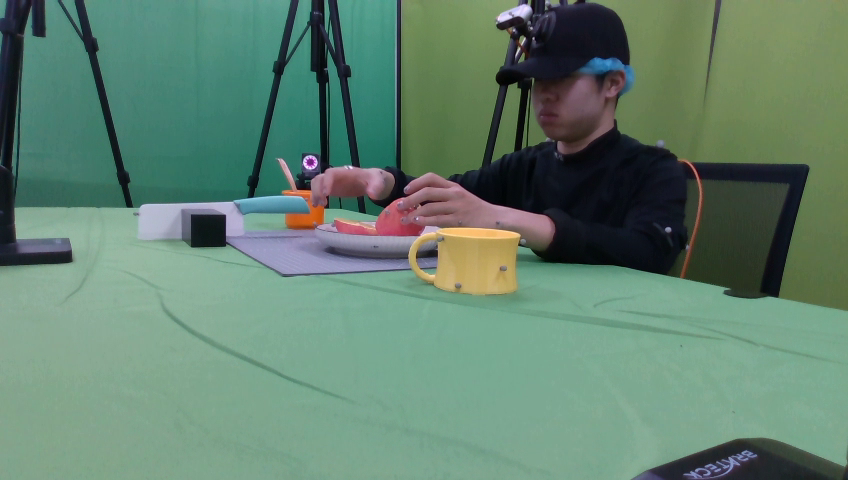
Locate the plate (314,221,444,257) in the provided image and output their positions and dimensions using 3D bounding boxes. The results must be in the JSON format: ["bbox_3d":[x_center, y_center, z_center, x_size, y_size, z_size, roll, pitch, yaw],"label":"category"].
[{"bbox_3d":[-0.067,-0.002,0.947,0.209,0.038,0.209,3,7,0],"label":"plate"}]

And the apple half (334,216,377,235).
[{"bbox_3d":[-0.111,-0.007,0.975,0.081,0.033,0.081,24,-6,3],"label":"apple half"}]

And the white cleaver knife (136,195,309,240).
[{"bbox_3d":[-0.337,-0.039,1.037,0.288,0.066,0.021,-6,15,-29],"label":"white cleaver knife"}]

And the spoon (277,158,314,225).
[{"bbox_3d":[-0.272,-0.103,1.260,0.042,0.193,0.021,-5,-34,-33],"label":"spoon"}]

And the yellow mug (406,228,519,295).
[{"bbox_3d":[0.044,0.022,0.706,0.131,0.064,0.100,2,7,5],"label":"yellow mug"}]

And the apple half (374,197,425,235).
[{"bbox_3d":[-0.033,-0.023,0.929,0.074,0.053,0.081,-39,-17,9],"label":"apple half"}]
